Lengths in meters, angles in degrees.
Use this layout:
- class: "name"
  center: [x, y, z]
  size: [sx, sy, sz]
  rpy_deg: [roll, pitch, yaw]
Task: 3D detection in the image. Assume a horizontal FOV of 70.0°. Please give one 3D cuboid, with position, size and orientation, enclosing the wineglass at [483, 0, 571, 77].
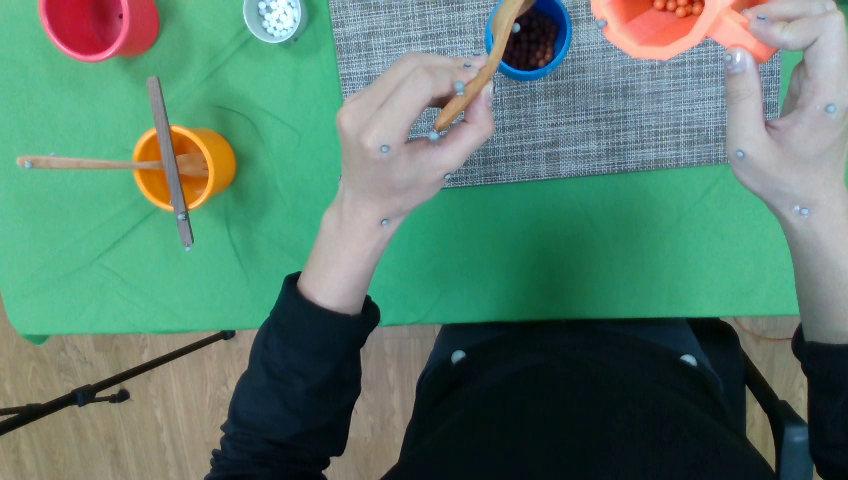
- class: "wineglass"
  center: [0.091, -0.183, 0.545]
  size: [0.073, 0.171, 0.074]
  rpy_deg: [2, 105, 7]

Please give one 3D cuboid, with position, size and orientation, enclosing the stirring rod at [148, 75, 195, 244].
- class: "stirring rod"
  center: [-0.263, -0.082, 0.632]
  size: [0.014, 0.006, 0.177]
  rpy_deg: [-4, 104, 9]

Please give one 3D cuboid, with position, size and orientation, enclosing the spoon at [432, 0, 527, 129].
- class: "spoon"
  center: [0.043, -0.124, 0.394]
  size: [0.022, 0.192, 0.041]
  rpy_deg: [40, 135, -17]

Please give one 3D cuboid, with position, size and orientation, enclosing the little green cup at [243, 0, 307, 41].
- class: "little green cup"
  center: [-0.153, -0.239, 0.635]
  size: [0.061, 0.038, 0.062]
  rpy_deg: [2, 106, 7]

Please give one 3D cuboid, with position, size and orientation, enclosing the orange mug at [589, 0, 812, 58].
- class: "orange mug"
  center: [0.182, -0.166, 0.392]
  size: [0.125, 0.101, 0.084]
  rpy_deg: [45, 147, 19]

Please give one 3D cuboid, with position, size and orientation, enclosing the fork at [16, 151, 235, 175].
- class: "fork"
  center: [-0.306, -0.082, 0.640]
  size: [0.208, 0.018, 0.028]
  rpy_deg: [-4, 117, -37]
